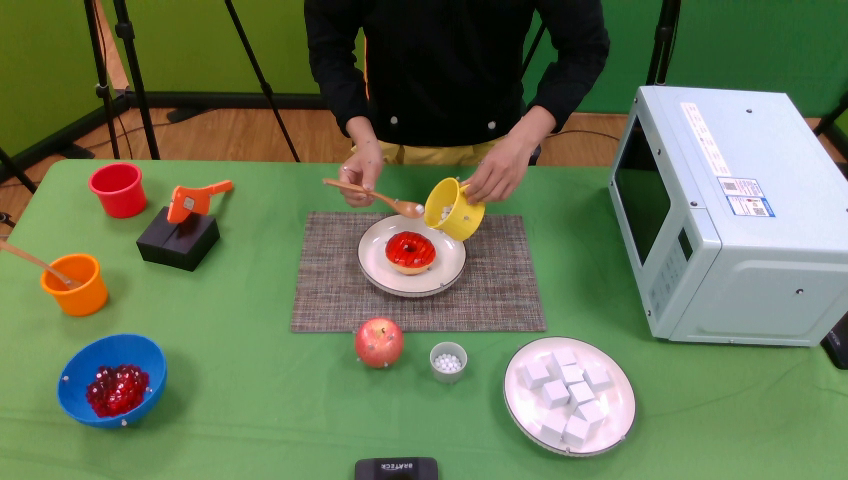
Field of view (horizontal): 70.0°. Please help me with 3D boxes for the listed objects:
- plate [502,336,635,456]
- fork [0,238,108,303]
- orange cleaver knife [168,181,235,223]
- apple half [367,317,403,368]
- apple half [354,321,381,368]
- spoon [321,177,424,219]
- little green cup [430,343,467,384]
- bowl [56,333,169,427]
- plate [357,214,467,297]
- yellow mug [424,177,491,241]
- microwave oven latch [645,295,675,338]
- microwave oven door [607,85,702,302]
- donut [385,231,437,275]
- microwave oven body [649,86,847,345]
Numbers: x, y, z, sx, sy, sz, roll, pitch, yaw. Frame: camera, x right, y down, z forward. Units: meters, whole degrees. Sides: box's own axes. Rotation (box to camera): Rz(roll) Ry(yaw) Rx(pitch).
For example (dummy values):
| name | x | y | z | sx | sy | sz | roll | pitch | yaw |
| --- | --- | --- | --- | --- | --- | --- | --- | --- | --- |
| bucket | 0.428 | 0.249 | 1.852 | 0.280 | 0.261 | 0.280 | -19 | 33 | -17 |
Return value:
| name | x | y | z | sx | sy | sz | roll | pitch | yaw |
| --- | --- | --- | --- | --- | --- | --- | --- | --- | --- |
| plate | 0.225 | 0.248 | 0.963 | 0.208 | 0.039 | 0.206 | 2 | 46 | -2 |
| fork | -0.633 | 0.048 | 1.017 | 0.208 | 0.018 | 0.028 | 40 | 41 | -27 |
| orange cleaver knife | -0.436 | -0.078 | 1.196 | 0.012 | 0.077 | 0.211 | 16 | 15 | 10 |
| apple half | -0.061 | 0.167 | 0.998 | 0.053 | 0.075 | 0.080 | -11 | 44 | -20 |
| apple half | -0.097 | 0.176 | 0.985 | 0.033 | 0.081 | 0.080 | -12 | 48 | -20 |
| spoon | -0.086 | -0.076 | 1.041 | 0.194 | 0.022 | 0.041 | 21 | 38 | -26 |
| little green cup | 0.039 | 0.203 | 0.993 | 0.061 | 0.039 | 0.061 | 2 | 46 | -2 |
| bowl | -0.456 | 0.223 | 0.911 | 0.151 | 0.077 | 0.150 | 3 | 46 | -2 |
| plate | -0.023 | 0.032 | 1.149 | 0.209 | 0.038 | 0.208 | 2 | 46 | -2 |
| yellow mug | 0.065 | -0.064 | 1.089 | 0.064 | 0.131 | 0.099 | 26 | 45 | -31 |
| microwave oven latch | 0.412 | 0.134 | 1.061 | 0.030 | 0.029 | 0.078 | 3 | 45 | 0 |
| microwave oven door | 0.423 | -0.094 | 1.140 | 0.039 | 0.245 | 0.353 | 2 | 46 | -1 |
| donut | -0.025 | 0.024 | 1.141 | 0.099 | 0.048 | 0.098 | 3 | 44 | -3 |
| microwave oven body | 0.568 | -0.053 | 1.118 | 0.326 | 0.261 | 0.439 | 2 | 45 | -1 |
